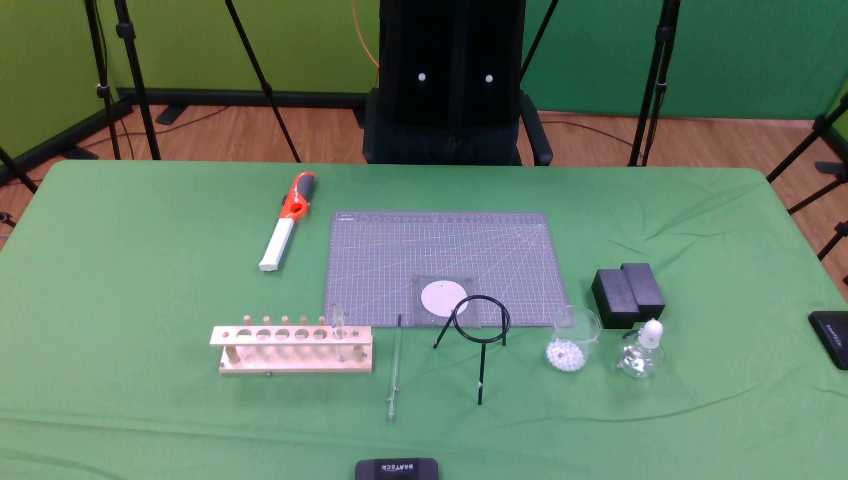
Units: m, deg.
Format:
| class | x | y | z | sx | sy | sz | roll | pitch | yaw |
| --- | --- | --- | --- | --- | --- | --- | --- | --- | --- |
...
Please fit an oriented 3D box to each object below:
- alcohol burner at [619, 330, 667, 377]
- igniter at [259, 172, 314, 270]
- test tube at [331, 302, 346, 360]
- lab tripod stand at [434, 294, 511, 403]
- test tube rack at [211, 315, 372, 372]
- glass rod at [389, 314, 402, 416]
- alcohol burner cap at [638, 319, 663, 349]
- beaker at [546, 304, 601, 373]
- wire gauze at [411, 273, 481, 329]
| class | x | y | z | sx | sy | sz | roll | pitch | yaw |
| --- | --- | --- | --- | --- | --- | --- | --- | --- | --- |
| alcohol burner | 0.363 | 0.172 | 0.995 | 0.078 | 0.120 | 0.077 | 1 | 48 | -1 |
| igniter | -0.273 | -0.046 | 1.220 | 0.057 | 0.025 | 0.275 | 0 | 45 | 10 |
| test tube | -0.132 | 0.144 | 0.938 | 0.017 | 0.151 | 0.017 | 2 | 49 | -3 |
| lab tripod stand | 0.087 | 0.164 | 0.969 | 0.148 | 0.132 | 0.147 | 3 | 47 | -3 |
| test tube rack | -0.208 | 0.163 | 0.982 | 0.242 | 0.085 | 0.066 | 1 | 46 | -4 |
| glass rod | -0.048 | 0.203 | 1.008 | 0.008 | 0.008 | 0.198 | 4 | 45 | 0 |
| alcohol burner cap | 0.364 | 0.147 | 0.968 | 0.034 | 0.048 | 0.033 | -1 | 44 | 1 |
| beaker | 0.242 | 0.167 | 1.001 | 0.084 | 0.101 | 0.073 | -32 | 55 | -28 |
| wire gauze | 0.038 | 0.108 | 1.103 | 0.125 | 0.011 | 0.120 | 2 | 47 | -3 |
